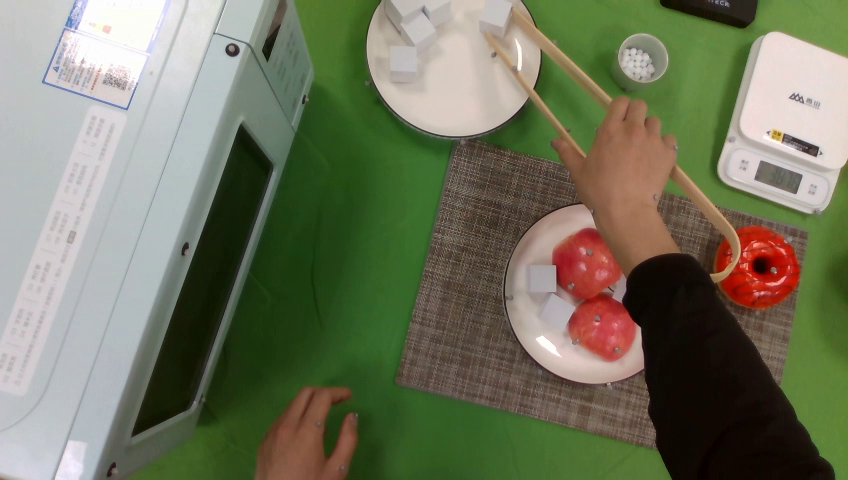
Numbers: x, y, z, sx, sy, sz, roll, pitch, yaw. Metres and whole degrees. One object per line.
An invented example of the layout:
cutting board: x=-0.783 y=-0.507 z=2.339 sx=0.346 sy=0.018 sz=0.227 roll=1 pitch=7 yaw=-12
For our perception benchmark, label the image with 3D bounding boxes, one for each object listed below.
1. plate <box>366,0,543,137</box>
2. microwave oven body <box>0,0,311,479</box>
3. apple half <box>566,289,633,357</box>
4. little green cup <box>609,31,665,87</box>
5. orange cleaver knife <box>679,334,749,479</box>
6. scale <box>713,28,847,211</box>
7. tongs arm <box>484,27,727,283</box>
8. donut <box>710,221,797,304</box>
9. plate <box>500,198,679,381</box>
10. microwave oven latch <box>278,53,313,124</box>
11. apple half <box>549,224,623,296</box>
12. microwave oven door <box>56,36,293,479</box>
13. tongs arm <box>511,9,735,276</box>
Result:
plate: x=0.035 y=-0.221 z=0.721 sx=0.208 sy=0.039 sz=0.207 roll=0 pitch=85 yaw=-4
microwave oven body: x=-0.336 y=-0.060 z=0.563 sx=0.326 sy=0.260 sz=0.440 roll=17 pitch=84 yaw=-3
apple half: x=0.206 y=0.094 z=0.695 sx=0.081 sy=0.033 sz=0.081 roll=0 pitch=86 yaw=0
little green cup: x=0.256 y=-0.217 z=0.737 sx=0.061 sy=0.038 sz=0.061 roll=0 pitch=84 yaw=-4
orange cleaver knife: x=0.345 y=0.218 z=0.710 sx=0.077 sy=0.012 sz=0.210 roll=-3 pitch=84 yaw=-10
scale: x=0.453 y=-0.149 z=0.749 sx=0.149 sy=0.031 sz=0.200 roll=19 pitch=84 yaw=-2
tongs arm: x=0.178 y=-0.108 z=0.646 sx=0.051 sy=0.027 sz=0.381 roll=-30 pitch=66 yaw=2
donut: x=0.388 y=0.027 z=0.718 sx=0.099 sy=0.048 sz=0.099 roll=0 pitch=84 yaw=-2
plate: x=0.188 y=0.056 z=0.704 sx=0.209 sy=0.038 sz=0.208 roll=0 pitch=85 yaw=-4
microwave oven latch: x=-0.149 y=-0.174 z=0.684 sx=0.030 sy=0.029 sz=0.079 roll=20 pitch=84 yaw=-3
apple half: x=0.188 y=0.020 z=0.692 sx=0.081 sy=0.053 sz=0.074 roll=-31 pitch=85 yaw=-7
microwave oven door: x=-0.209 y=0.023 z=0.559 sx=0.039 sy=0.244 sz=0.355 roll=17 pitch=83 yaw=-2
tongs arm: x=0.199 y=-0.122 z=0.646 sx=0.028 sy=0.028 sz=0.384 roll=-31 pitch=65 yaw=-3
